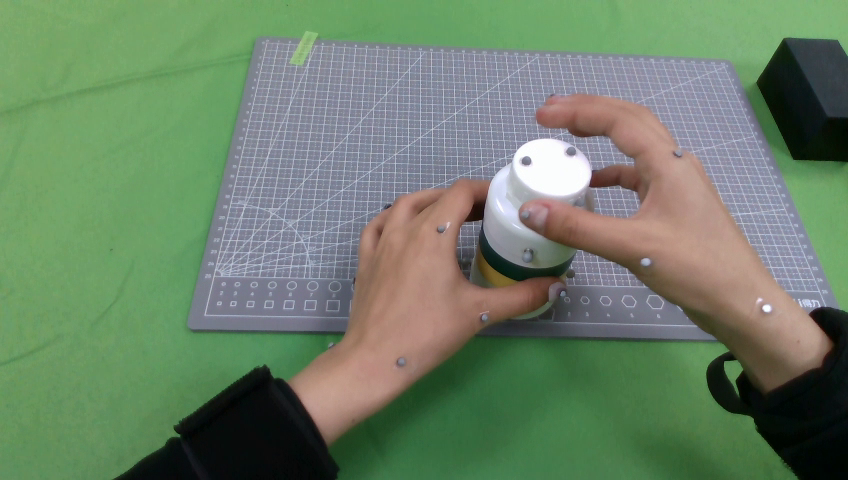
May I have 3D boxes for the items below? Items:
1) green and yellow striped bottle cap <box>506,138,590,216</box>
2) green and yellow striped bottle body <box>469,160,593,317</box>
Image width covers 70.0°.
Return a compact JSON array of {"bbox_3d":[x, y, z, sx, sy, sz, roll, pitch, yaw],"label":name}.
[{"bbox_3d":[0.068,-0.035,0.333,0.045,0.020,0.045,2,53,-2],"label":"green and yellow striped bottle cap"},{"bbox_3d":[0.065,-0.006,0.378,0.063,0.120,0.062,2,55,-2],"label":"green and yellow striped bottle body"}]
